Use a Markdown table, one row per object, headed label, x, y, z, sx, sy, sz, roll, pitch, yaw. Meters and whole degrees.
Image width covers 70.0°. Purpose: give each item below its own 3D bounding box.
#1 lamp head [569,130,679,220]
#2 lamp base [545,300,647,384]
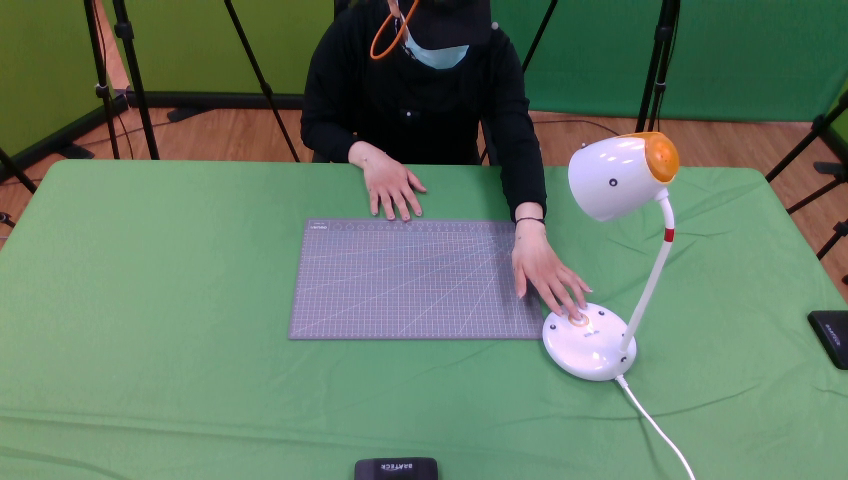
| label | x | y | z | sx | sy | sz | roll | pitch | yaw |
| --- | --- | --- | --- | --- | --- | --- | --- | --- | --- |
| lamp head | 0.273 | -0.090 | 0.799 | 0.113 | 0.122 | 0.112 | 7 | 78 | -33 |
| lamp base | 0.299 | 0.124 | 0.984 | 0.161 | 0.181 | 0.178 | -23 | 55 | -23 |
